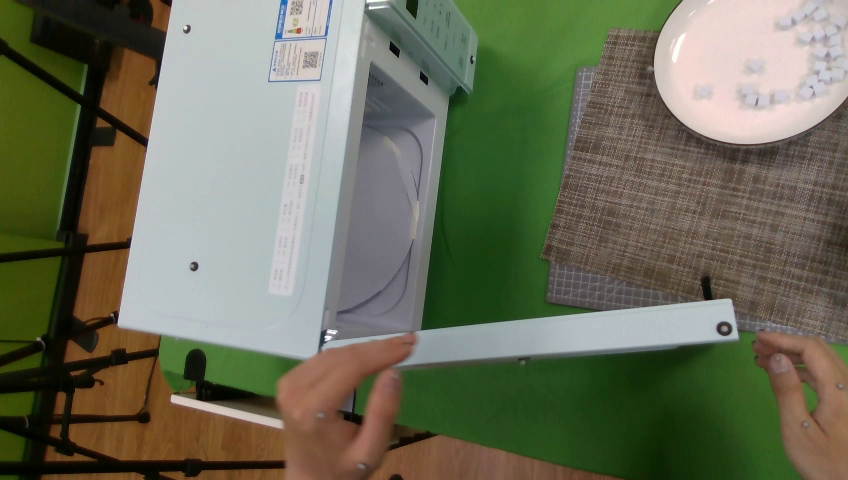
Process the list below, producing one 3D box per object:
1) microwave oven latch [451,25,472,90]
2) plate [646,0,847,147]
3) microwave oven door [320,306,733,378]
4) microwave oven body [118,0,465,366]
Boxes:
[{"bbox_3d":[0.045,-0.240,0.796,0.030,0.030,0.079,4,85,24],"label":"microwave oven latch"},{"bbox_3d":[0.357,-0.200,0.668,0.208,0.038,0.208,-4,79,23],"label":"plate"},{"bbox_3d":[0.110,0.101,0.608,0.355,0.245,0.039,-11,77,22],"label":"microwave oven door"},{"bbox_3d":[-0.149,-0.088,0.755,0.324,0.262,0.440,4,85,24],"label":"microwave oven body"}]
